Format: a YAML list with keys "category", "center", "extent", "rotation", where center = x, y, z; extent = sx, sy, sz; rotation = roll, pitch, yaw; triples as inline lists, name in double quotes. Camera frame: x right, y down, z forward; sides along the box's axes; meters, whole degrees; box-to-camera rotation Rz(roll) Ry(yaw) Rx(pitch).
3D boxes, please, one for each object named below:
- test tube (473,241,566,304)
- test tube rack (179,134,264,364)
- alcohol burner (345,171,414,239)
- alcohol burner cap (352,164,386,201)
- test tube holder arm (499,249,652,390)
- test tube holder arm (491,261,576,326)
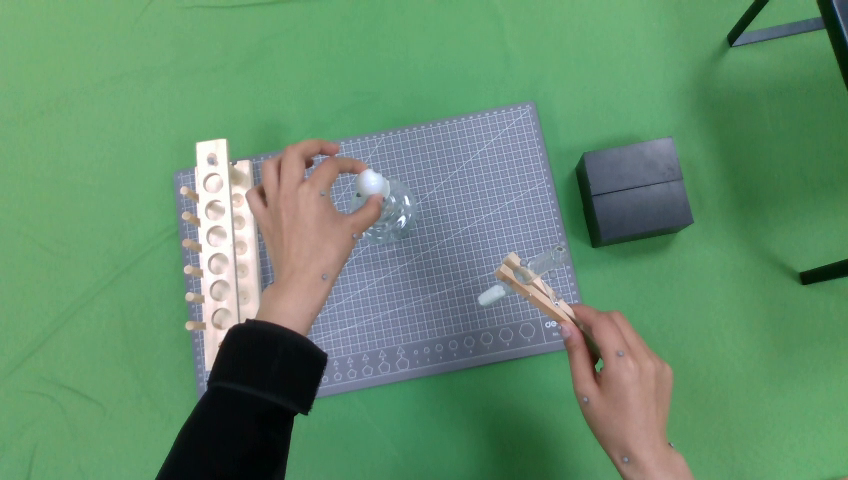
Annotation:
- category: "test tube"
  center: [0.079, 0.032, 0.538]
  extent: [0.017, 0.150, 0.017]
  rotation: [7, 68, -19]
- category: "test tube rack"
  center: [-0.233, 0.014, 0.678]
  extent: [0.067, 0.085, 0.241]
  rotation: [-7, 80, 1]
- category: "alcohol burner"
  center: [-0.051, -0.042, 0.665]
  extent: [0.078, 0.119, 0.077]
  rotation: [0, 81, 3]
- category: "alcohol burner cap"
  center: [-0.056, -0.059, 0.595]
  extent: [0.034, 0.048, 0.033]
  rotation: [0, 81, 2]
- category: "test tube holder arm"
  center: [0.136, 0.072, 0.538]
  extent: [0.178, 0.015, 0.013]
  rotation: [41, 71, -4]
- category: "test tube holder arm"
  center: [0.098, 0.048, 0.533]
  extent: [0.088, 0.015, 0.010]
  rotation: [34, 70, -6]
